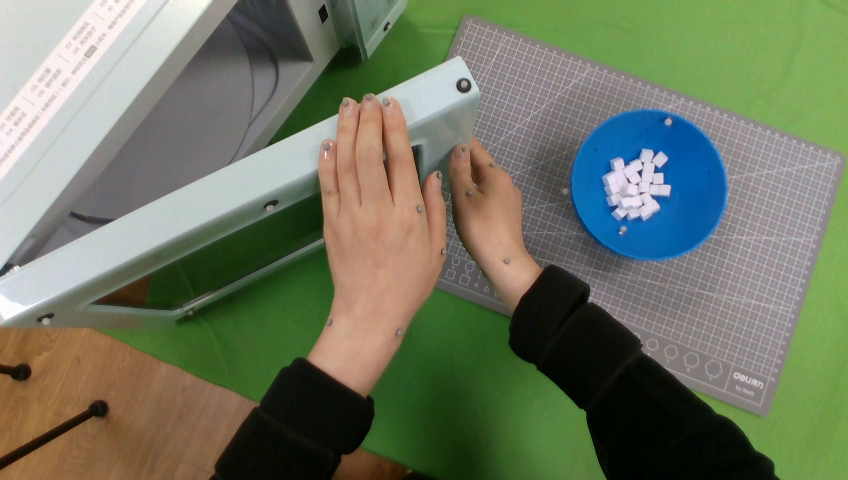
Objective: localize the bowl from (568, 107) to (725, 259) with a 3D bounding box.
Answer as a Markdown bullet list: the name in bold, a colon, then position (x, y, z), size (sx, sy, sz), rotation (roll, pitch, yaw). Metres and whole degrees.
- **bowl**: position (0.215, -0.051, 0.620), size (0.151, 0.077, 0.151), rotation (0, 83, 1)

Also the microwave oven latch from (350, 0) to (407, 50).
- **microwave oven latch**: position (-0.048, -0.245, 0.649), size (0.030, 0.029, 0.079), rotation (37, 85, 4)

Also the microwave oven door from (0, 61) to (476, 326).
- **microwave oven door**: position (-0.126, -0.021, 0.519), size (0.356, 0.244, 0.039), rotation (-27, 82, -3)

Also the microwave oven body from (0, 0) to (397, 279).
- **microwave oven body**: position (-0.272, -0.200, 0.545), size (0.325, 0.260, 0.441), rotation (35, 85, 4)
